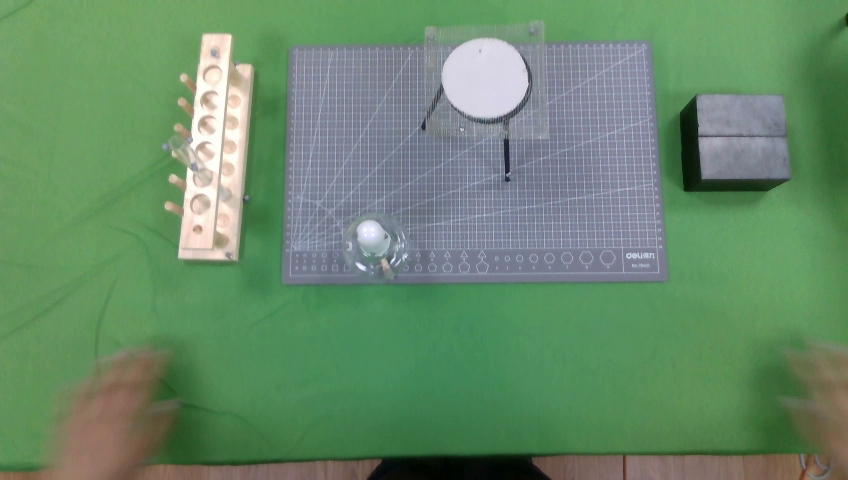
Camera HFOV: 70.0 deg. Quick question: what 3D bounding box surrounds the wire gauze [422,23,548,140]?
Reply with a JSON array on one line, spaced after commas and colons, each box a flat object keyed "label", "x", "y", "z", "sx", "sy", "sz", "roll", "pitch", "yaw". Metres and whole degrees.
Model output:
[{"label": "wire gauze", "x": 0.061, "y": -0.160, "z": 0.608, "sx": 0.125, "sy": 0.011, "sz": 0.121, "roll": 0, "pitch": 80, "yaw": 1}]

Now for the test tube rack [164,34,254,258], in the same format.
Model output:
[{"label": "test tube rack", "x": -0.251, "y": -0.105, "z": 0.697, "sx": 0.067, "sy": 0.085, "sz": 0.241, "roll": 2, "pitch": 80, "yaw": 2}]

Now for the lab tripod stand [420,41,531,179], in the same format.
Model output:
[{"label": "lab tripod stand", "x": 0.066, "y": -0.152, "z": 0.674, "sx": 0.148, "sy": 0.132, "sz": 0.147, "roll": 0, "pitch": 78, "yaw": 2}]

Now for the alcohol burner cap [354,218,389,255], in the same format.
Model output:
[{"label": "alcohol burner cap", "x": -0.056, "y": -0.005, "z": 0.623, "sx": 0.034, "sy": 0.048, "sz": 0.033, "roll": -1, "pitch": 76, "yaw": 6}]

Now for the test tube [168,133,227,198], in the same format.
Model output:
[{"label": "test tube", "x": -0.236, "y": -0.074, "z": 0.641, "sx": 0.017, "sy": 0.151, "sz": 0.017, "roll": 1, "pitch": 75, "yaw": -2}]

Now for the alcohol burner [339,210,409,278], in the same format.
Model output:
[{"label": "alcohol burner", "x": -0.055, "y": 0.002, "z": 0.659, "sx": 0.078, "sy": 0.119, "sz": 0.077, "roll": 0, "pitch": 79, "yaw": 0}]
